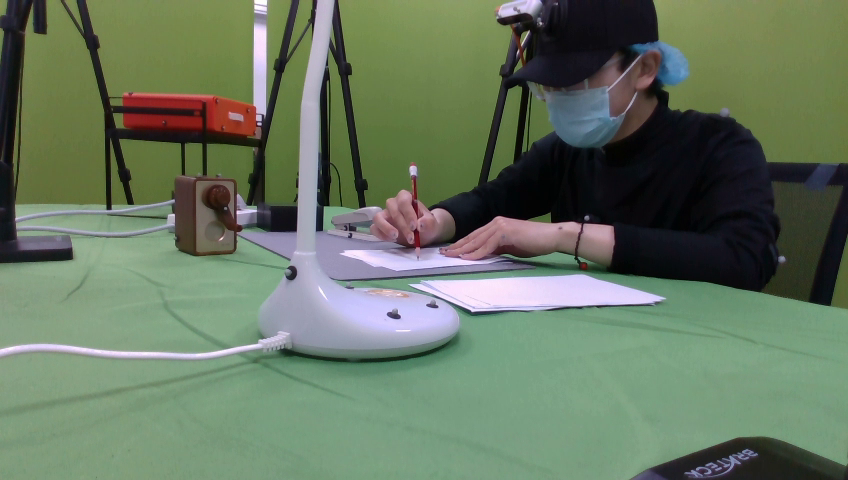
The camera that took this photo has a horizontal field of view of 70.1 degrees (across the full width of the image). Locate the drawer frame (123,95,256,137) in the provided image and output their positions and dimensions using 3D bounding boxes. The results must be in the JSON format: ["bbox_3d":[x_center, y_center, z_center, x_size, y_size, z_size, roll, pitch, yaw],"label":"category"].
[{"bbox_3d":[-0.524,-0.280,1.376,0.213,0.082,0.202,3,8,8],"label":"drawer frame"}]

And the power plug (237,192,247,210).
[{"bbox_3d":[-0.386,-0.071,1.204,0.072,0.052,0.035,7,9,26],"label":"power plug"}]

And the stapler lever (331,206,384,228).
[{"bbox_3d":[-0.119,-0.043,1.069,0.117,0.040,0.027,7,8,41],"label":"stapler lever"}]

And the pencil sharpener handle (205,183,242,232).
[{"bbox_3d":[-0.265,-0.043,0.812,0.036,0.068,0.030,-32,28,-35],"label":"pencil sharpener handle"}]

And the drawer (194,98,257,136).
[{"bbox_3d":[-0.518,-0.279,1.376,0.211,0.073,0.195,3,8,9],"label":"drawer"}]

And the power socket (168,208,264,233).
[{"bbox_3d":[-0.381,-0.038,1.129,0.072,0.032,0.227,4,8,17],"label":"power socket"}]

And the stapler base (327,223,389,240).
[{"bbox_3d":[-0.118,-0.018,1.072,0.130,0.024,0.041,7,8,41],"label":"stapler base"}]

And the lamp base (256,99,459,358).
[{"bbox_3d":[-0.055,-0.013,0.463,0.160,0.180,0.180,6,11,27],"label":"lamp base"}]

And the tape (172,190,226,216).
[{"bbox_3d":[-0.515,-0.087,1.388,0.117,0.052,0.117,3,7,0],"label":"tape"}]

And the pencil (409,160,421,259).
[{"bbox_3d":[-0.013,-0.049,0.901,0.012,0.012,0.193,1,51,-7],"label":"pencil"}]

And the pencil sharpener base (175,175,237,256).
[{"bbox_3d":[-0.304,-0.035,0.847,0.062,0.107,0.076,-4,10,-42],"label":"pencil sharpener base"}]
